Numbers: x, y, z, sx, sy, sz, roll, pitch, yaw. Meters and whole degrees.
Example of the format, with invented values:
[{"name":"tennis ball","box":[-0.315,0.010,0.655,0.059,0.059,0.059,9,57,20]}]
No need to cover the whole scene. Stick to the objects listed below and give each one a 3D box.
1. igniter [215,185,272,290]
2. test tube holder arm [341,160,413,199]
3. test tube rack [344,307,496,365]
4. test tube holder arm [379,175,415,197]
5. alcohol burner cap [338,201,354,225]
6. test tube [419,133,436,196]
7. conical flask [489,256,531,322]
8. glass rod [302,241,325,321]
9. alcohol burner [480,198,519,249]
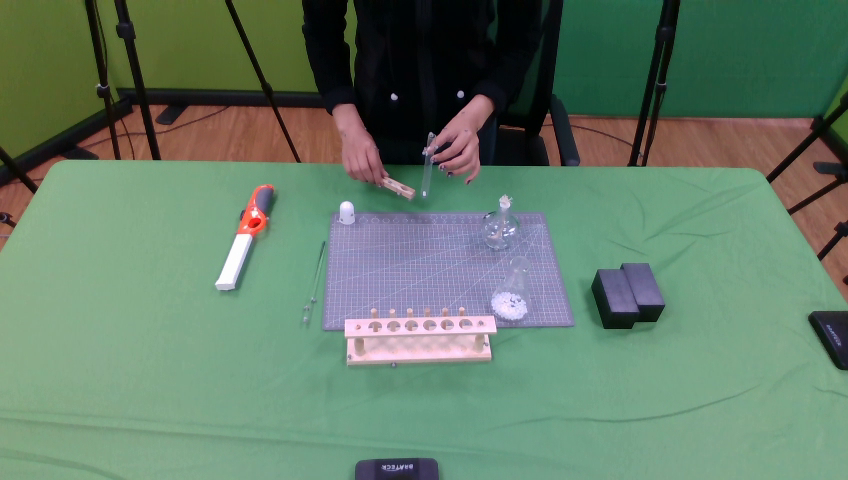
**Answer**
[{"name":"igniter","box":[-0.347,-0.014,1.182,0.057,0.025,0.275,-1,45,8]},{"name":"test tube holder arm","box":[-0.099,-0.126,1.251,0.178,0.015,0.013,26,47,19]},{"name":"test tube rack","box":[-0.009,0.154,1.007,0.242,0.085,0.066,-1,46,-5]},{"name":"test tube holder arm","box":[-0.058,-0.110,1.239,0.087,0.015,0.010,26,47,19]},{"name":"alcohol burner cap","box":[-0.159,-0.056,1.224,0.034,0.048,0.033,2,47,-2]},{"name":"test tube","box":[0.006,-0.139,1.145,0.017,0.151,0.017,4,48,-4]},{"name":"conical flask","box":[0.158,0.081,1.061,0.075,0.122,0.075,2,46,-2]},{"name":"glass rod","box":[-0.204,0.072,1.124,0.008,0.008,0.198,4,43,1]},{"name":"alcohol burner","box":[0.150,-0.039,1.182,0.078,0.119,0.077,3,47,-3]}]
